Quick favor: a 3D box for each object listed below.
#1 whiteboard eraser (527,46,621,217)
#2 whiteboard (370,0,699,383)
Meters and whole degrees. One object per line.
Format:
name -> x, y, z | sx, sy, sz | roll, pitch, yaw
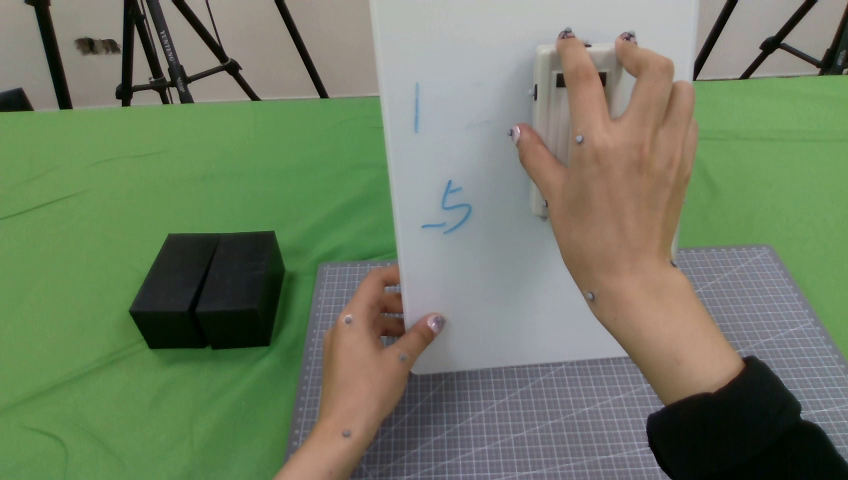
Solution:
whiteboard eraser -> 0.099, -0.072, 0.408 | 0.055, 0.113, 0.041 | -1, 20, 3
whiteboard -> 0.081, -0.058, 0.504 | 0.217, 0.307, 0.143 | -4, 22, 0
